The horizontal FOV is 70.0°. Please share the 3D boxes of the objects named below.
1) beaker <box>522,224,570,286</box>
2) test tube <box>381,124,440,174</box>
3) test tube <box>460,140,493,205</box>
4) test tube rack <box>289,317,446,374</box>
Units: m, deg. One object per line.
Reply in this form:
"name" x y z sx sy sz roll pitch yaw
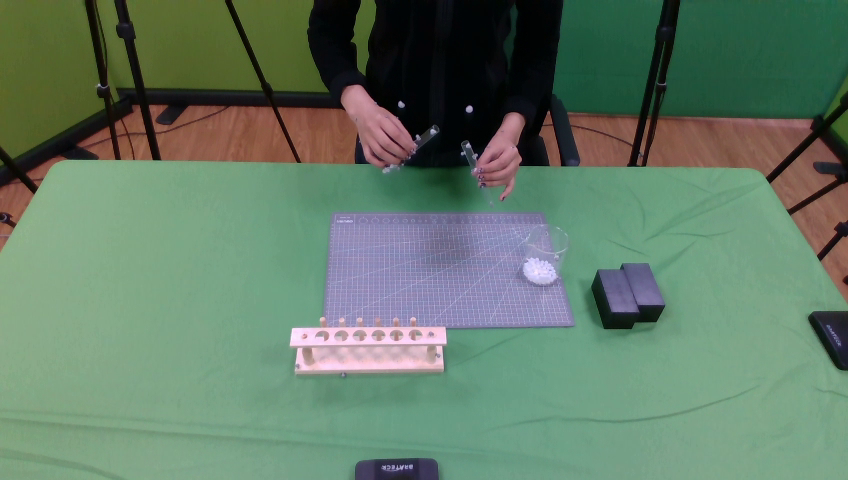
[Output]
"beaker" 0.221 0.032 1.129 0.084 0.101 0.073 -6 46 -9
"test tube" -0.028 -0.161 1.091 0.017 0.150 0.017 29 44 -33
"test tube" 0.099 -0.122 1.122 0.017 0.151 0.017 -17 39 15
"test tube rack" -0.089 0.167 0.988 0.242 0.085 0.066 0 46 -4
